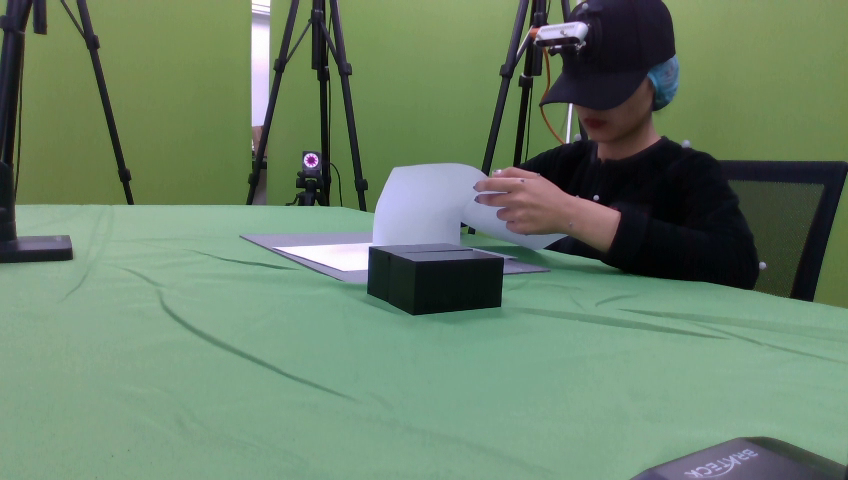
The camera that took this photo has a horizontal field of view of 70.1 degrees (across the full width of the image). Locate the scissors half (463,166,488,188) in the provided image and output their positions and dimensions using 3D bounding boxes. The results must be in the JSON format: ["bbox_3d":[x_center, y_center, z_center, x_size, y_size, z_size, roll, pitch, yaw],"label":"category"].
[{"bbox_3d":[0.085,-0.100,0.973,0.013,0.040,0.175,25,6,-7],"label":"scissors half"}]

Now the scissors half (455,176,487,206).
[{"bbox_3d":[0.076,-0.082,0.971,0.013,0.040,0.175,31,-12,-6],"label":"scissors half"}]
